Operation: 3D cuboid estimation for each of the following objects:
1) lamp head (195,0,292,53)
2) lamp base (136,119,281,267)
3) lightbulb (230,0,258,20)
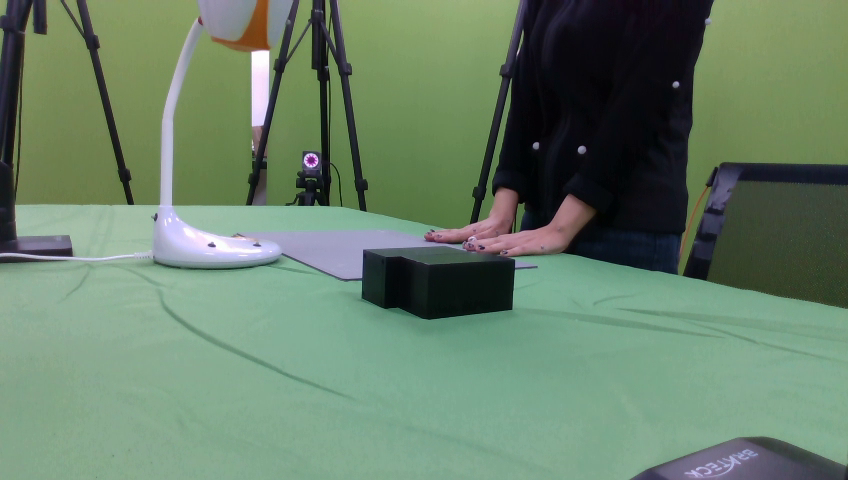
[{"bbox_3d":[-0.185,-0.254,0.611,0.112,0.123,0.112,10,20,-3],"label":"lamp head"},{"bbox_3d":[-0.275,-0.061,0.773,0.160,0.180,0.180,9,13,44],"label":"lamp base"},{"bbox_3d":[-0.175,-0.276,0.603,0.059,0.107,0.059,11,11,-2],"label":"lightbulb"}]
